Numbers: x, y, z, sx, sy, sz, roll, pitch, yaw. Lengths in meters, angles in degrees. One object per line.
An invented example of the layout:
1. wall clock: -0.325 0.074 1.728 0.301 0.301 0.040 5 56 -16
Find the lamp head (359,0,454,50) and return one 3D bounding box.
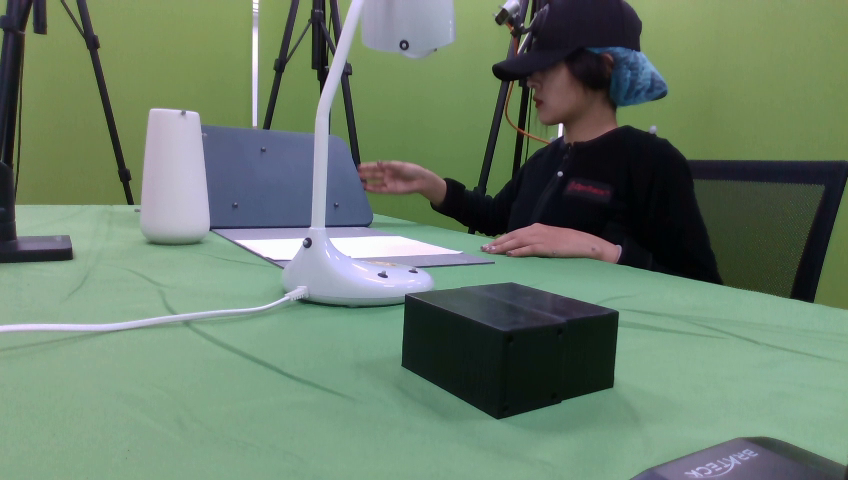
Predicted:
1. lamp head: -0.024 -0.283 0.674 0.112 0.123 0.112 -3 38 3

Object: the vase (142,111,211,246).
1. vase: -0.378 -0.093 0.920 0.098 0.200 0.098 2 9 0

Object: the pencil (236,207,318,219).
1. pencil: -0.346 -0.063 1.433 0.194 0.012 0.012 6 7 -4

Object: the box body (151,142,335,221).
1. box body: -0.413 -0.135 1.379 0.366 0.160 0.253 -2 9 -31

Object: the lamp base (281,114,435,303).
1. lamp base: -0.071 -0.035 0.614 0.160 0.180 0.180 6 10 27

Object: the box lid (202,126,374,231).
1. box lid: -0.296 -0.128 1.234 0.373 0.262 0.015 -2 -35 -32

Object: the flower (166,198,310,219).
1. flower: -0.399 -0.060 1.357 0.044 0.038 0.364 -36 -23 32

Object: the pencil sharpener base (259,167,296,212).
1. pencil sharpener base: -0.357 -0.122 1.467 0.077 0.107 0.061 -3 6 -33

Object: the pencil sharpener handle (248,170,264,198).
1. pencil sharpener handle: -0.401 -0.133 1.440 0.031 0.067 0.036 -3 18 -33
